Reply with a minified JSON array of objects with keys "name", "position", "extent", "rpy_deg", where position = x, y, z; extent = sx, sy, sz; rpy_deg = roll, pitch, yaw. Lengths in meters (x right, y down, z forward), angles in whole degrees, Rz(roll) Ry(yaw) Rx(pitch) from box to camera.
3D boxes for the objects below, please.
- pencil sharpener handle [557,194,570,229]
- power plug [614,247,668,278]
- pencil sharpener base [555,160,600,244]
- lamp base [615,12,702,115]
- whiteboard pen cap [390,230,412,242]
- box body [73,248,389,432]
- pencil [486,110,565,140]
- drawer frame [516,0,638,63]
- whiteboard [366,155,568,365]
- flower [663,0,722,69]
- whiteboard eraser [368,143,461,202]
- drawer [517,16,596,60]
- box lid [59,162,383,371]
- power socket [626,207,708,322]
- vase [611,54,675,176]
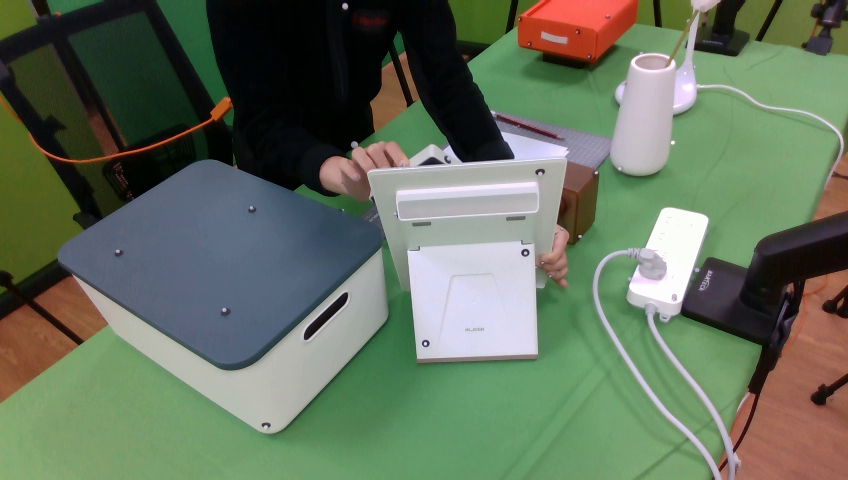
[{"name":"pencil sharpener handle","position":[0.195,-0.038,0.908],"extent":[0.035,0.068,0.031],"rpy_deg":[24,50,31]},{"name":"power plug","position":[0.306,0.031,0.851],"extent":[0.072,0.053,0.035],"rpy_deg":[24,49,33]},{"name":"pencil sharpener base","position":[0.228,-0.057,0.945],"extent":[0.061,0.107,0.077],"rpy_deg":[24,50,31]},{"name":"lamp base","position":[0.484,-0.363,1.211],"extent":[0.180,0.181,0.159],"rpy_deg":[-15,41,-14]},{"name":"whiteboard pen cap","position":[-0.036,-0.006,0.980],"extent":[0.033,0.018,0.018],"rpy_deg":[9,43,17]},{"name":"box body","position":[-0.255,0.065,0.827],"extent":[0.361,0.161,0.255],"rpy_deg":[21,48,29]},{"name":"pencil","position":[0.204,-0.232,1.226],"extent":[0.192,0.012,0.012],"rpy_deg":[29,52,33]},{"name":"drawer frame","position":[0.355,-0.508,1.410],"extent":[0.200,0.083,0.214],"rpy_deg":[23,51,32]},{"name":"whiteboard","position":[0.059,0.050,0.738],"extent":[0.217,0.307,0.143],"rpy_deg":[-3,60,5]},{"name":"flower","position":[0.379,-0.261,0.965],"extent":[0.044,0.362,0.038],"rpy_deg":[21,53,5]},{"name":"whiteboard eraser","position":[-0.011,-0.065,0.708],"extent":[0.112,0.056,0.041],"rpy_deg":[-29,51,38]},{"name":"drawer","position":[0.352,-0.506,1.405],"extent":[0.193,0.073,0.212],"rpy_deg":[23,49,32]},{"name":"box lid","position":[-0.262,0.010,0.777],"extent":[0.369,0.015,0.264],"rpy_deg":[21,48,29]},{"name":"power socket","position":[0.359,0.026,0.886],"extent":[0.072,0.033,0.227],"rpy_deg":[16,46,26]},{"name":"vase","position":[0.377,-0.209,1.031],"extent":[0.098,0.201,0.097],"rpy_deg":[-3,40,3]}]
